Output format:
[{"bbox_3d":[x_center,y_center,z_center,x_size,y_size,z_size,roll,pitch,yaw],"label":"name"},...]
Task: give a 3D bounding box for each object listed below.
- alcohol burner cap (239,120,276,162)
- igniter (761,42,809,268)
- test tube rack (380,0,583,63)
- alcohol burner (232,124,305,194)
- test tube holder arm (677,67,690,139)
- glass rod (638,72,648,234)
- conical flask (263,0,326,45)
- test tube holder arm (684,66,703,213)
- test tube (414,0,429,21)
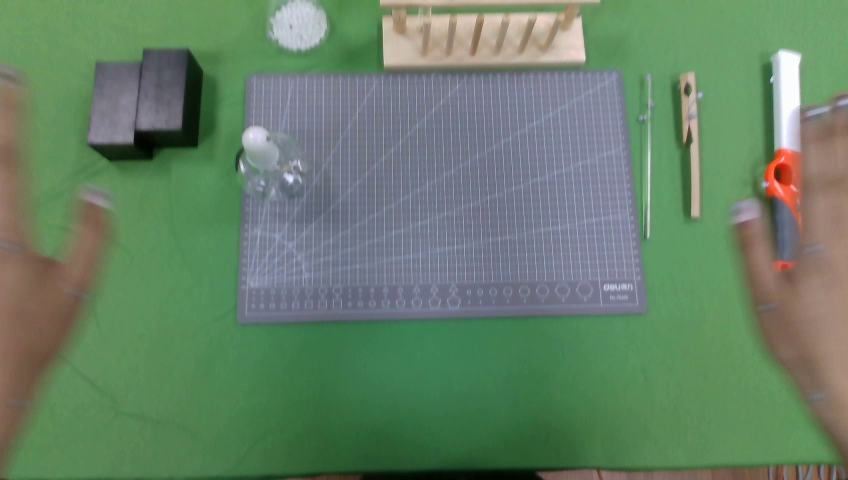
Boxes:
[{"bbox_3d":[-0.167,-0.101,0.602,0.034,0.048,0.033,2,73,-5],"label":"alcohol burner cap"},{"bbox_3d":[0.419,-0.100,0.704,0.057,0.025,0.275,9,78,-10],"label":"igniter"},{"bbox_3d":[0.069,-0.258,0.698,0.242,0.085,0.066,-2,77,-2],"label":"test tube rack"},{"bbox_3d":[-0.168,-0.092,0.637,0.078,0.119,0.077,0,76,1],"label":"alcohol burner"},{"bbox_3d":[0.310,-0.163,0.721,0.010,0.015,0.087,-7,76,34],"label":"test tube holder arm"},{"bbox_3d":[0.257,-0.104,0.710,0.008,0.008,0.199,6,80,-1],"label":"glass rod"},{"bbox_3d":[-0.153,-0.280,0.677,0.075,0.122,0.075,0,77,-2],"label":"conical flask"},{"bbox_3d":[0.314,-0.119,0.708,0.013,0.015,0.177,-9,75,34],"label":"test tube holder arm"},{"bbox_3d":[0.000,-0.285,0.651,0.017,0.151,0.017,1,75,-3],"label":"test tube"}]
